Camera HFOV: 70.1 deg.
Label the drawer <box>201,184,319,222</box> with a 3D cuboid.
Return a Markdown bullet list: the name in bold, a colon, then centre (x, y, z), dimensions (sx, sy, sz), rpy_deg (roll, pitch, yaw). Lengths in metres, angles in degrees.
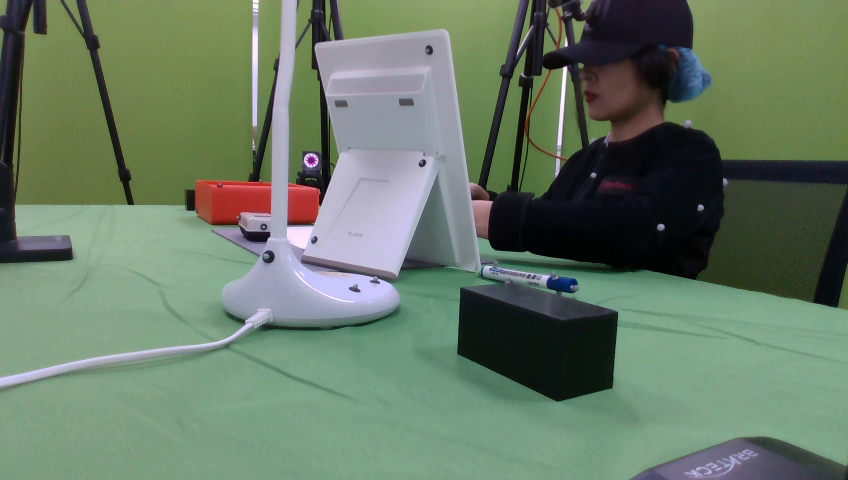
- **drawer**: centre (-0.353, -0.082, 1.296), dimensions (0.213, 0.073, 0.193), rpy_deg (-2, 10, -28)

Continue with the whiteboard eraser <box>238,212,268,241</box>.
- **whiteboard eraser**: centre (-0.272, -0.024, 0.998), dimensions (0.056, 0.042, 0.112), rpy_deg (-2, 9, -24)

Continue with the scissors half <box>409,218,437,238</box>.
- **scissors half**: centre (-0.006, -0.022, 1.231), dimensions (0.040, 0.013, 0.175), rpy_deg (-17, 7, 15)

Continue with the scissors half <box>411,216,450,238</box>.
- **scissors half**: centre (0.011, -0.025, 1.224), dimensions (0.040, 0.013, 0.176), rpy_deg (-9, 11, 28)

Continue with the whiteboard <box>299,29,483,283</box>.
- **whiteboard**: centre (-0.074, -0.082, 0.742), dimensions (0.216, 0.305, 0.144), rpy_deg (9, 29, 38)

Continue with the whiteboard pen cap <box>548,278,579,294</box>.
- **whiteboard pen cap**: centre (0.148, 0.049, 0.647), dimensions (0.018, 0.018, 0.033), rpy_deg (-3, 3, -36)

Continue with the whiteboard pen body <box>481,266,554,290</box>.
- **whiteboard pen body**: centre (0.115, 0.044, 0.695), dimensions (0.017, 0.017, 0.140), rpy_deg (-3, 6, -35)

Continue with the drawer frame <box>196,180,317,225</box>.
- **drawer frame**: centre (-0.359, -0.083, 1.292), dimensions (0.215, 0.082, 0.200), rpy_deg (-2, 10, -30)

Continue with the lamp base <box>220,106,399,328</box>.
- **lamp base**: centre (-0.101, -0.023, 0.531), dimensions (0.160, 0.180, 0.179), rpy_deg (4, 10, 10)
